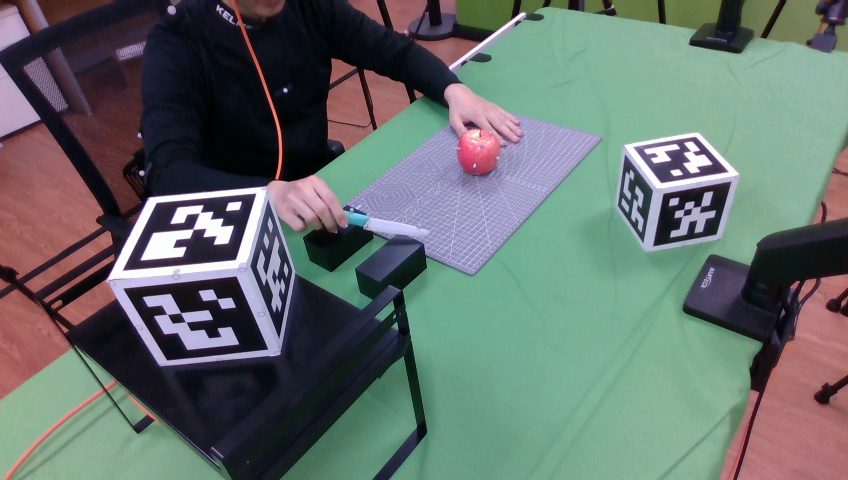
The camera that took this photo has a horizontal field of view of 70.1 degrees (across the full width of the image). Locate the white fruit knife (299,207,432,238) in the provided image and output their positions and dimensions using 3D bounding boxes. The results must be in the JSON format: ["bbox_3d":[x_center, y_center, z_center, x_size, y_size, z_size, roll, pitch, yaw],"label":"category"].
[{"bbox_3d":[-0.090,-0.025,0.918,0.207,0.027,0.016,9,28,5],"label":"white fruit knife"}]

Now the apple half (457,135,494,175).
[{"bbox_3d":[0.086,-0.145,1.083,0.080,0.081,0.033,22,44,30],"label":"apple half"}]

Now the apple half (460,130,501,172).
[{"bbox_3d":[0.109,-0.166,1.106,0.080,0.075,0.053,18,42,33],"label":"apple half"}]
